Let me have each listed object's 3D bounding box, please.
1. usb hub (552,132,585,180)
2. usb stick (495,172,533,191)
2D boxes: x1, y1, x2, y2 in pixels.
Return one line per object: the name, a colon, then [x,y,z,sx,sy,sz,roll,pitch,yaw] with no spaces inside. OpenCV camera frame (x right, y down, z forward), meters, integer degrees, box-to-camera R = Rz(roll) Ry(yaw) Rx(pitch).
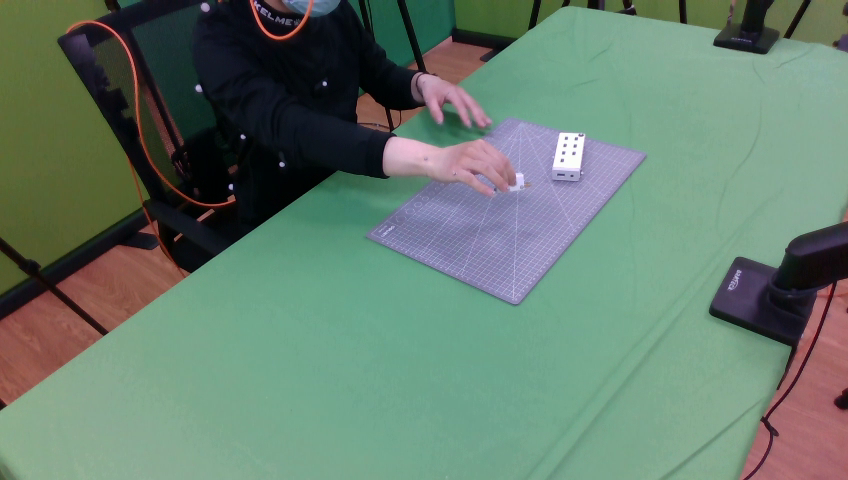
usb hub: [0.266,-0.154,1.103,0.049,0.025,0.125,6,43,15]
usb stick: [0.144,-0.094,0.963,0.059,0.027,0.021,-4,16,-3]
